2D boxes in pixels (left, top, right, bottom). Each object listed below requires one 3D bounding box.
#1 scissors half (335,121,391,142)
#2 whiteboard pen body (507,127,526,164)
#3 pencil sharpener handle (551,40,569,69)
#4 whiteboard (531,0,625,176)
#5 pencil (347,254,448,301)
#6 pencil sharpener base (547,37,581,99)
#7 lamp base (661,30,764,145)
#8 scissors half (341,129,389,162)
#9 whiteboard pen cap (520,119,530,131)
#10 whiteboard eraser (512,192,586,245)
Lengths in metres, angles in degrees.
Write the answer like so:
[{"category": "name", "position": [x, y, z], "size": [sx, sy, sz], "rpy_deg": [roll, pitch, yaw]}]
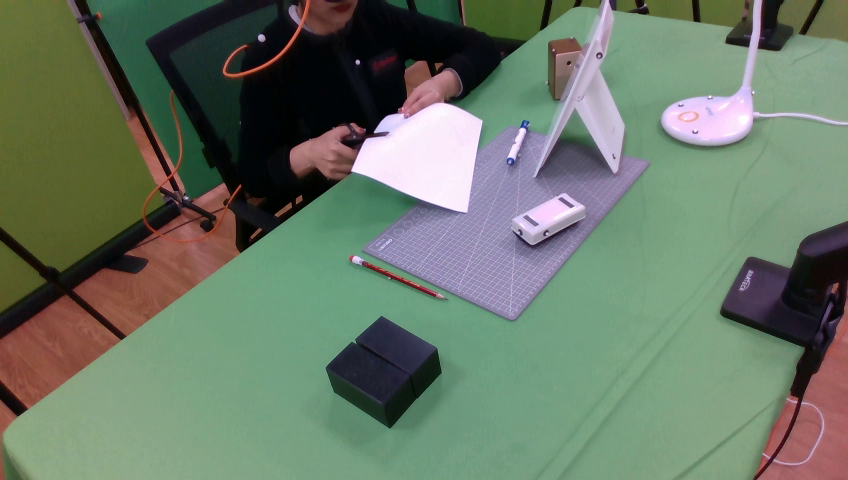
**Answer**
[{"category": "scissors half", "position": [-0.120, -0.206, 1.160], "size": [0.013, 0.040, 0.173], "rpy_deg": [-31, 32, -34]}, {"category": "whiteboard pen body", "position": [0.181, -0.189, 1.163], "size": [0.017, 0.017, 0.140], "rpy_deg": [7, 42, 19]}, {"category": "pencil sharpener handle", "position": [0.291, -0.409, 1.321], "size": [0.036, 0.068, 0.030], "rpy_deg": [2, 40, -6]}, {"category": "whiteboard", "position": [0.320, -0.258, 1.050], "size": [0.144, 0.306, 0.217], "rpy_deg": [22, 45, 5]}, {"category": "pencil", "position": [-0.044, 0.058, 0.933], "size": [0.192, 0.012, 0.012], "rpy_deg": [22, 49, 28]}, {"category": "pencil sharpener base", "position": [0.299, -0.368, 1.290], "size": [0.061, 0.107, 0.076], "rpy_deg": [-8, 40, 2]}, {"category": "lamp base", "position": [0.535, -0.287, 1.096], "size": [0.179, 0.181, 0.159], "rpy_deg": [-10, 40, -4]}, {"category": "scissors half", "position": [-0.114, -0.185, 1.165], "size": [0.013, 0.040, 0.174], "rpy_deg": [-25, 4, -35]}, {"category": "whiteboard pen cap", "position": [0.200, -0.226, 1.204], "size": [0.018, 0.018, 0.033], "rpy_deg": [7, 41, 18]}, {"category": "whiteboard eraser", "position": [0.199, -0.032, 0.962], "size": [0.113, 0.042, 0.055], "rpy_deg": [-27, 43, -20]}]
